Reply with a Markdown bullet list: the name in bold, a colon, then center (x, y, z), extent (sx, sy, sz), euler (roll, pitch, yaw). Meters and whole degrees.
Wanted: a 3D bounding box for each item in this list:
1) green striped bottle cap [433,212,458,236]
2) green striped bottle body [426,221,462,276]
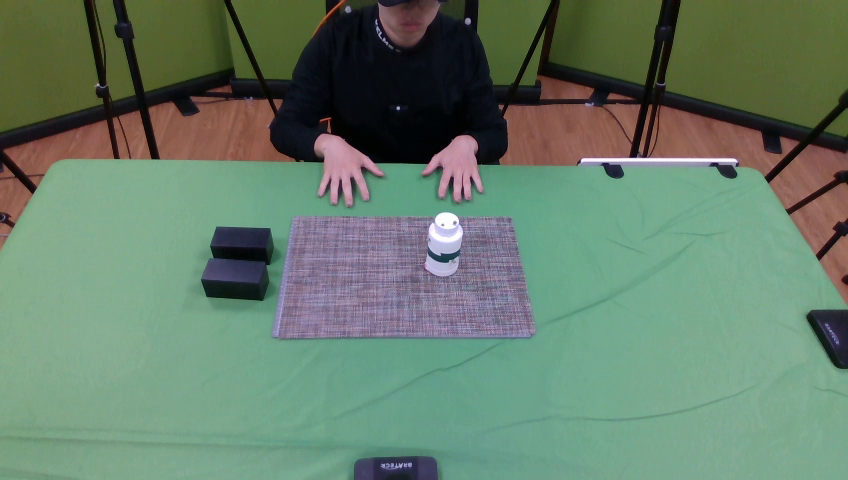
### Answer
- **green striped bottle cap**: center (0.039, -0.030, 1.085), extent (0.044, 0.020, 0.044), euler (3, 46, -3)
- **green striped bottle body**: center (0.037, 0.007, 1.122), extent (0.063, 0.120, 0.063), euler (2, 46, -2)
